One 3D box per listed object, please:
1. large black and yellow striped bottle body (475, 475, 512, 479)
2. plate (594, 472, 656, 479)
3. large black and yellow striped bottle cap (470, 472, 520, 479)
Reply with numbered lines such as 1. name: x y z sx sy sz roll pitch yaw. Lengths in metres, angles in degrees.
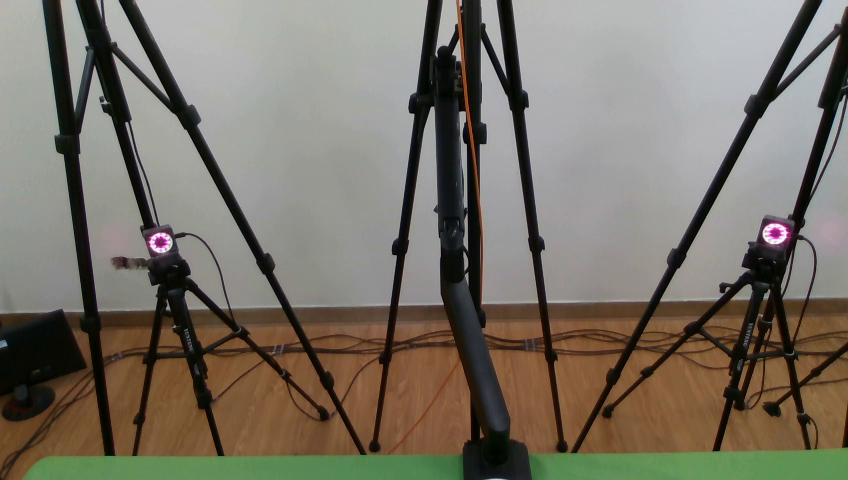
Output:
1. large black and yellow striped bottle body: 0.101 0.441 0.869 0.131 0.185 0.129 -2 32 1
2. plate: 0.336 0.465 0.954 0.209 0.038 0.207 -2 32 2
3. large black and yellow striped bottle cap: 0.099 0.369 0.825 0.115 0.019 0.114 -1 33 1
